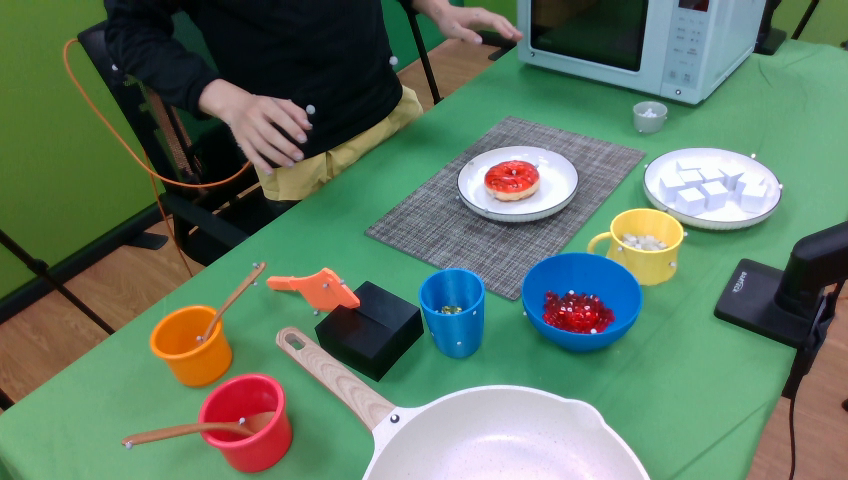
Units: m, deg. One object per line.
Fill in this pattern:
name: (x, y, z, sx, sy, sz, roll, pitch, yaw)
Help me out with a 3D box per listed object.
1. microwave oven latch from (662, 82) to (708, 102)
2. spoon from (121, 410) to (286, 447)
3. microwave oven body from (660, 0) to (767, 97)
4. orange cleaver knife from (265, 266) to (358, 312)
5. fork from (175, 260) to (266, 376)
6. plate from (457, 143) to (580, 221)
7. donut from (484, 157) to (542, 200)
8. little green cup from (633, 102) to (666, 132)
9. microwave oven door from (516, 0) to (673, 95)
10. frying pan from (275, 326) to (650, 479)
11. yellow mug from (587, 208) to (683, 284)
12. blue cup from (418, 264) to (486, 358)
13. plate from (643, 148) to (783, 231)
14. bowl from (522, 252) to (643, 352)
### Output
microwave oven latch: (0.517, -0.298, 1.202, 0.078, 0.029, 0.030, 28, 52, 35)
spoon: (-0.236, 0.208, 0.669, 0.041, 0.021, 0.195, 35, 12, 38)
microwave oven body: (0.473, -0.516, 1.313, 0.438, 0.261, 0.327, 26, 51, 34)
orange cleaver knife: (-0.164, 0.073, 0.864, 0.210, 0.077, 0.012, -6, 31, 50)
fork: (-0.268, 0.103, 0.792, 0.207, 0.019, 0.028, -51, 41, 16)
plate: (0.161, -0.097, 1.042, 0.209, 0.038, 0.208, -4, 40, 4)
donut: (0.153, -0.107, 1.039, 0.099, 0.048, 0.098, -5, 37, 5)
little green cup: (0.434, -0.238, 1.171, 0.061, 0.039, 0.061, -4, 40, 4)
microwave oven door: (0.344, -0.458, 1.256, 0.353, 0.245, 0.039, 26, 52, 33)
frying pan: (0.003, 0.229, 0.641, 0.484, 0.103, 0.308, 34, 54, 28)
yellow mug: (0.305, 0.009, 0.884, 0.131, 0.064, 0.099, -4, 40, 5)
blue cup: (0.042, 0.100, 0.787, 0.092, 0.101, 0.092, -5, 41, 5)
plate: (0.464, -0.080, 0.985, 0.207, 0.039, 0.206, -4, 41, 4)
bowl: (0.204, 0.093, 0.792, 0.151, 0.077, 0.150, -4, 40, 4)
